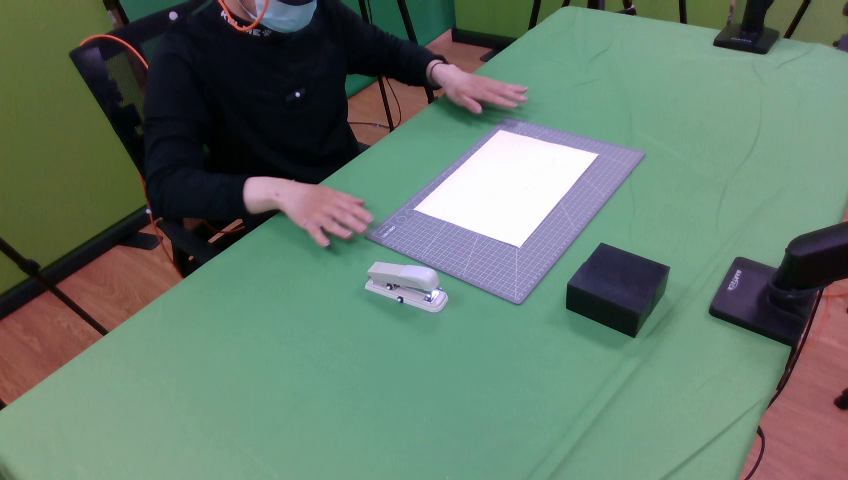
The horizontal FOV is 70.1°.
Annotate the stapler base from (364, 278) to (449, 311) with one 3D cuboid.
[{"bbox_3d":[-0.027,0.069,0.893,0.129,0.024,0.041,15,42,26],"label":"stapler base"}]

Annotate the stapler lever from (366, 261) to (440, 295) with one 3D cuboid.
[{"bbox_3d":[-0.032,0.049,0.878,0.117,0.040,0.027,15,42,26],"label":"stapler lever"}]
